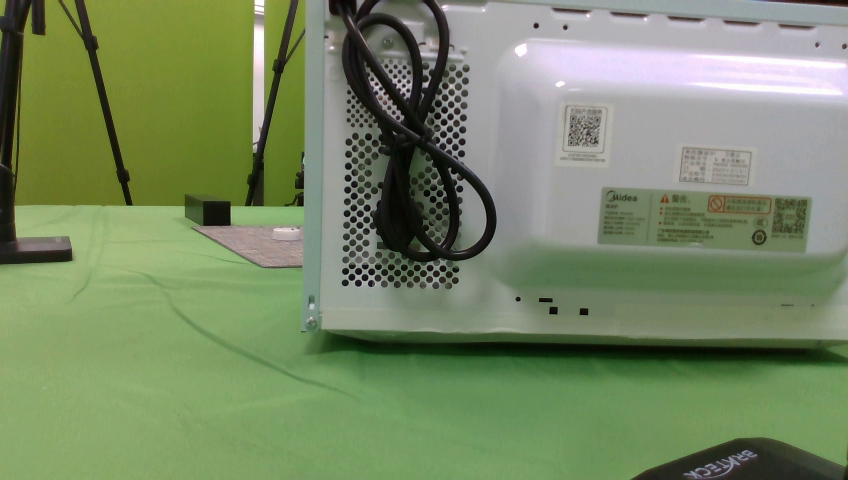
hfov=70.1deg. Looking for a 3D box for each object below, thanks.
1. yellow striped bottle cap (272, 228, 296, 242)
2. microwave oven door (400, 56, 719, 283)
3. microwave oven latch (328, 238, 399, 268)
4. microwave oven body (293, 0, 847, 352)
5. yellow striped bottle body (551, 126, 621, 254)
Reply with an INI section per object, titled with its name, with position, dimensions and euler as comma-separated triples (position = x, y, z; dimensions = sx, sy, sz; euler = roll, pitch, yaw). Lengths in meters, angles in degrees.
[yellow striped bottle cap]
position = -0.232, -0.008, 1.011
dimensions = 0.044, 0.018, 0.044
euler = 4, 9, 0
[microwave oven door]
position = 0.155, -0.078, 0.698
dimensions = 0.356, 0.243, 0.039
euler = 2, 8, -5
[microwave oven latch]
position = -0.069, 0.015, 0.694
dimensions = 0.079, 0.029, 0.030
euler = 3, 7, -4
[microwave oven body]
position = 0.122, -0.055, 0.550
dimensions = 0.442, 0.260, 0.325
euler = 3, 7, -5
[yellow striped bottle body]
position = 0.157, -0.049, 0.586
dimensions = 0.063, 0.120, 0.063
euler = 0, 7, 0
